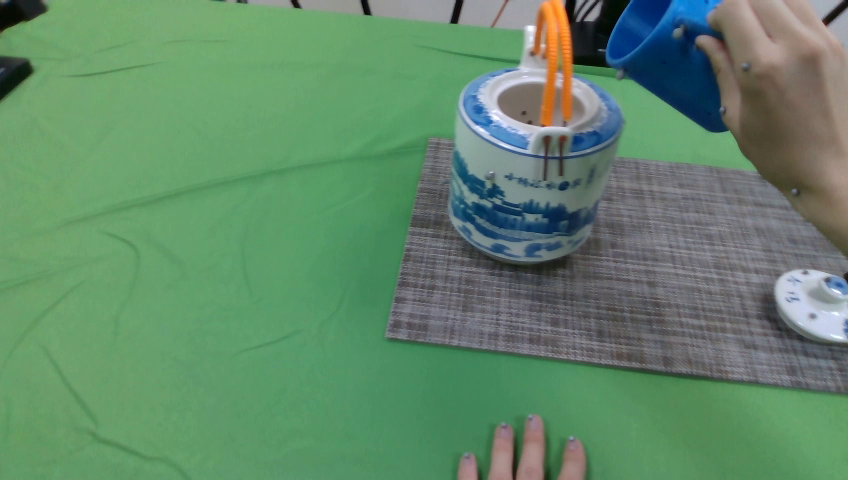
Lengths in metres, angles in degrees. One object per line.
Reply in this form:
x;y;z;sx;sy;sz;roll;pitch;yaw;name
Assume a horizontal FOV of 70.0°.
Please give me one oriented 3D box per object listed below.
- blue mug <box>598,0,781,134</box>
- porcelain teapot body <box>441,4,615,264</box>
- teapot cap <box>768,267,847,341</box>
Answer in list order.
0.203;-0.138;0.449;0.106;0.082;0.115;28;12;-17;blue mug
0.093;-0.115;0.564;0.145;0.227;0.203;1;44;-2;porcelain teapot body
0.354;0.052;0.541;0.085;0.044;0.084;4;44;-3;teapot cap
